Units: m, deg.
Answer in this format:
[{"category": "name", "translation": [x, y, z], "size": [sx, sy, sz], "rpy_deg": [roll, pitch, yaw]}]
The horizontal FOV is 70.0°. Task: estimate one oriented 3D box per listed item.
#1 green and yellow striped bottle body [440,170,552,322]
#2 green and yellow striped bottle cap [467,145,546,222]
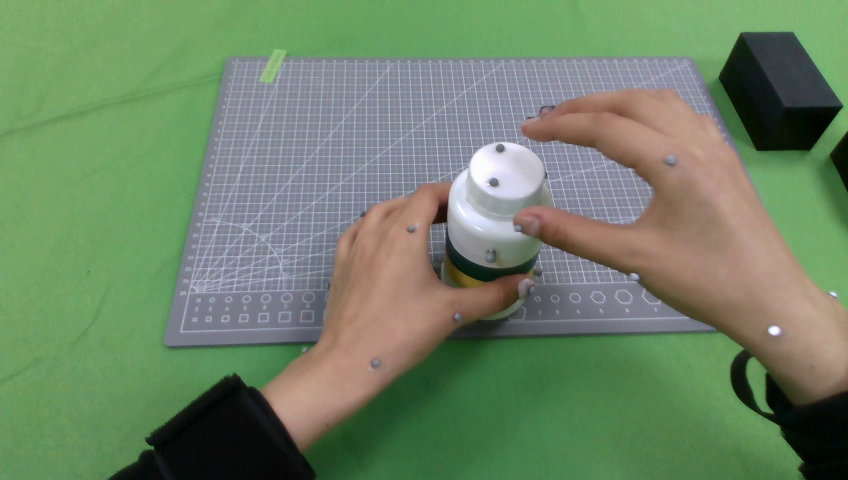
[{"category": "green and yellow striped bottle body", "translation": [0.044, -0.002, 0.387], "size": [0.063, 0.120, 0.062], "rpy_deg": [1, 54, -1]}, {"category": "green and yellow striped bottle cap", "translation": [0.047, -0.033, 0.345], "size": [0.045, 0.020, 0.045], "rpy_deg": [1, 54, -1]}]
